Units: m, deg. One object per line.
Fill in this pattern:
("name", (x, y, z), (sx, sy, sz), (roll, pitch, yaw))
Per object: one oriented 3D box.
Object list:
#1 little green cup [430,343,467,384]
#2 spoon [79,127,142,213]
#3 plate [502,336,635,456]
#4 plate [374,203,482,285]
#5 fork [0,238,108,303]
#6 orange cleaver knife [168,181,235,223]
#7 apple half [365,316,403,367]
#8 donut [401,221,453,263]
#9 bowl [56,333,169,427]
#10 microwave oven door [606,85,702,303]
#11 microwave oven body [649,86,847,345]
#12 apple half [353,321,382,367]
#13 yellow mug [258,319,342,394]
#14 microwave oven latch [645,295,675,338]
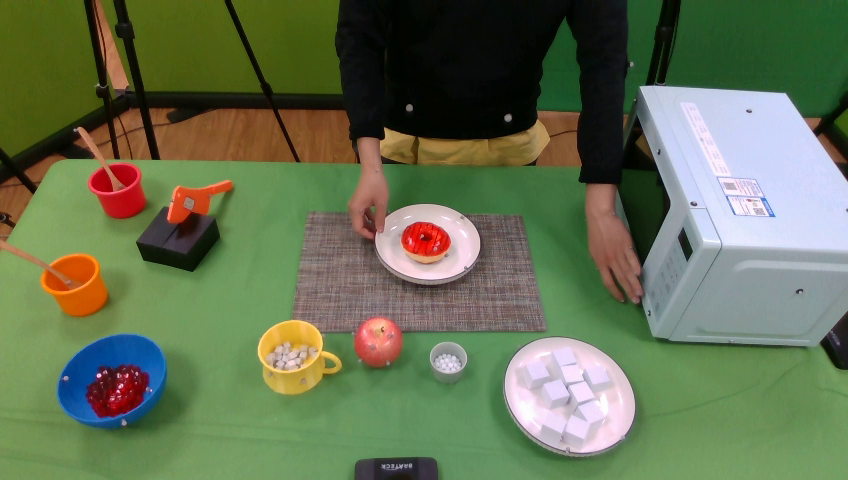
("little green cup", (0.039, 0.203, 0.994), (0.061, 0.039, 0.061), (2, 46, -2))
("spoon", (-0.624, -0.139, 1.203), (0.041, 0.021, 0.194), (-33, 100, -26))
("plate", (0.225, 0.248, 0.963), (0.208, 0.039, 0.206), (2, 46, -2))
("plate", (0.007, 0.011, 1.172), (0.209, 0.038, 0.208), (2, 46, -2))
("fork", (-0.633, 0.048, 1.017), (0.208, 0.018, 0.028), (40, 41, -27))
("orange cleaver knife", (-0.436, -0.078, 1.196), (0.012, 0.077, 0.211), (16, 15, 10))
("apple half", (-0.063, 0.165, 1.000), (0.053, 0.075, 0.080), (-16, 45, -24))
("donut", (0.005, 0.003, 1.163), (0.099, 0.048, 0.098), (2, 44, -2))
("bowl", (-0.456, 0.223, 0.912), (0.151, 0.077, 0.150), (3, 45, -2))
("microwave oven door", (0.422, -0.094, 1.140), (0.039, 0.245, 0.353), (2, 46, -1))
("microwave oven body", (0.567, -0.053, 1.118), (0.326, 0.261, 0.439), (2, 45, -1))
("apple half", (-0.098, 0.177, 0.984), (0.033, 0.081, 0.081), (-17, 49, -25))
("yellow mug", (-0.195, 0.188, 0.972), (0.131, 0.064, 0.099), (9, 47, 4))
("microwave oven latch", (0.412, 0.134, 1.061), (0.030, 0.029, 0.078), (3, 45, 0))
